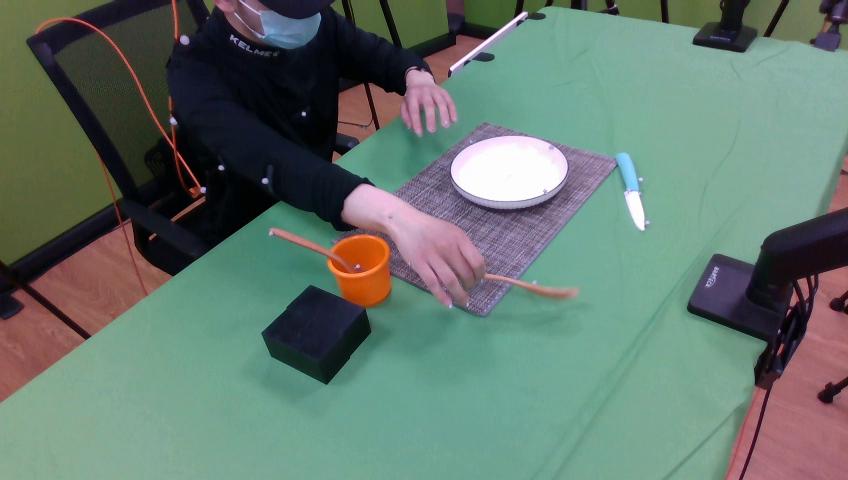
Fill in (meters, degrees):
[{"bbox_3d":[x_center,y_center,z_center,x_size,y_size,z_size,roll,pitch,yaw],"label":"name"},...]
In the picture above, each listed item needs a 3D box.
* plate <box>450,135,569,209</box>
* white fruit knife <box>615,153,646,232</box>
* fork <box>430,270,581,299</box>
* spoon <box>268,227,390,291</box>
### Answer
[{"bbox_3d":[0.149,-0.117,1.066,0.209,0.038,0.208,-3,41,3],"label":"plate"},{"bbox_3d":[0.352,-0.084,1.023,0.027,0.016,0.206,-19,40,23],"label":"white fruit knife"},{"bbox_3d":[0.111,0.059,0.829,0.207,0.028,0.018,10,62,2],"label":"fork"},{"bbox_3d":[-0.132,0.025,0.861,0.195,0.021,0.041,31,33,-26],"label":"spoon"}]
